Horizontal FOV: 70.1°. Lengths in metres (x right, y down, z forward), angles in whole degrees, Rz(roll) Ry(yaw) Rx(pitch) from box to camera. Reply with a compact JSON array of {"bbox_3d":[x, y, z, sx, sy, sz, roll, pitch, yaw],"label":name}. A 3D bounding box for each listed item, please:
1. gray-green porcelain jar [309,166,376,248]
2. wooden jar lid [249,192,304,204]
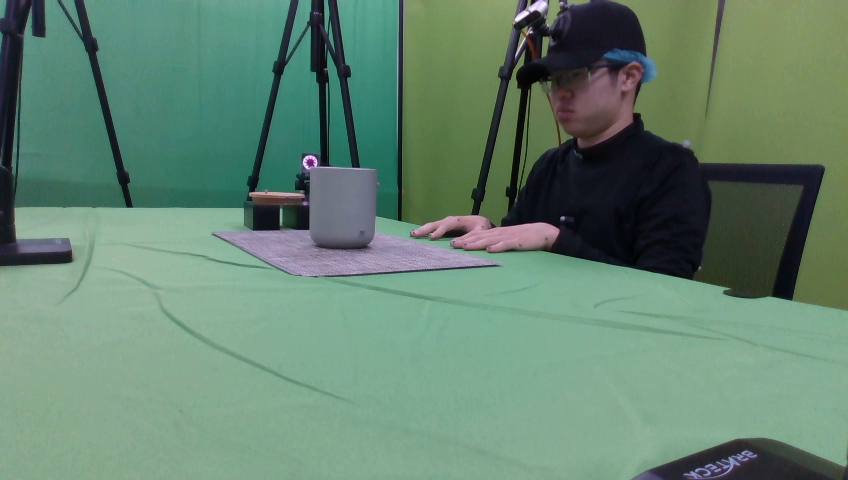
[{"bbox_3d":[-0.130,-0.054,0.965,0.106,0.126,0.106,2,7,0],"label":"gray-green porcelain jar"},{"bbox_3d":[-0.297,-0.086,1.220,0.108,0.020,0.108,4,7,0],"label":"wooden jar lid"}]
